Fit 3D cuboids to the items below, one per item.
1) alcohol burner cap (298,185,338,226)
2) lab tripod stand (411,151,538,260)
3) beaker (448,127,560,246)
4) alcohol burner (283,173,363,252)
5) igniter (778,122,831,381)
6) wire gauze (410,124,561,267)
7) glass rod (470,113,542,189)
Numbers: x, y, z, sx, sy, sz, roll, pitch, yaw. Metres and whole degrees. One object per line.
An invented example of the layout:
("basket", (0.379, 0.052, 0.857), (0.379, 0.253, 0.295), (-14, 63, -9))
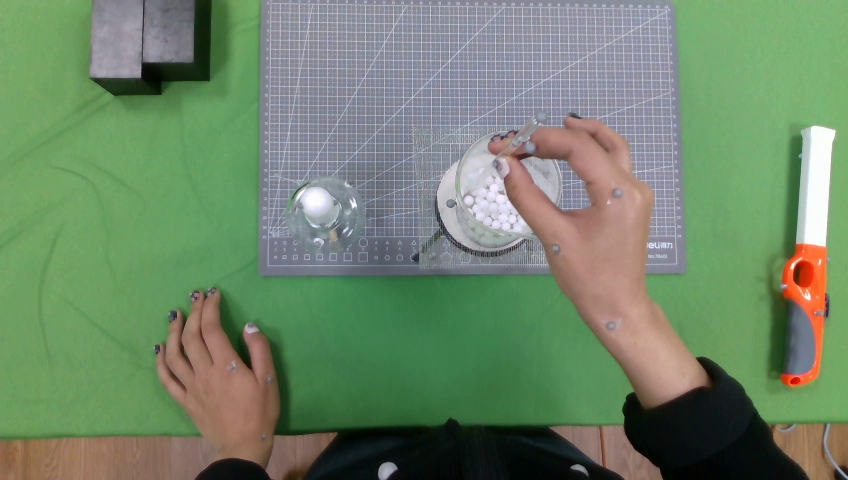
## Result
("alcohol burner cap", (-0.097, -0.032, 0.542), (0.034, 0.048, 0.033), (0, 80, 0))
("lab tripod stand", (0.048, -0.028, 0.575), (0.148, 0.132, 0.148), (0, 84, -1))
("beaker", (0.057, -0.032, 0.461), (0.074, 0.100, 0.084), (-33, 86, -5))
("alcohol burner", (-0.098, -0.029, 0.578), (0.078, 0.119, 0.077), (0, 82, -3))
("igniter", (0.405, 0.012, 0.643), (0.057, 0.025, 0.276), (8, 85, -12))
("wire gauze", (0.052, -0.038, 0.510), (0.125, 0.011, 0.121), (-1, 83, 0))
("glass rod", (0.049, -0.053, 0.402), (0.008, 0.200, 0.008), (0, 85, -5))
